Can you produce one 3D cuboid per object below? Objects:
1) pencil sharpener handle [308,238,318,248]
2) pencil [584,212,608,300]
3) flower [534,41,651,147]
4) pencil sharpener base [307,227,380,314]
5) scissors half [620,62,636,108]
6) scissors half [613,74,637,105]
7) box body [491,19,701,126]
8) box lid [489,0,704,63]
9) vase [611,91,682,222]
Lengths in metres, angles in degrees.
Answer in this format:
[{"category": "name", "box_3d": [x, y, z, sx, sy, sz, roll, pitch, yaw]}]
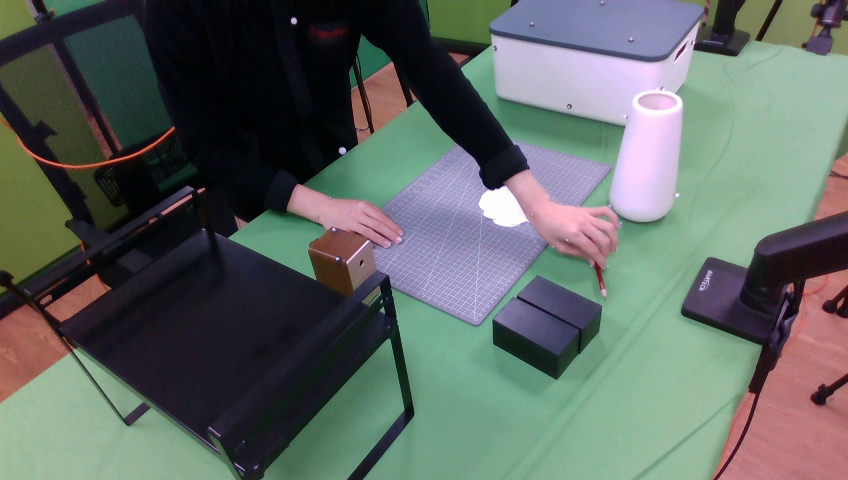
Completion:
[{"category": "pencil sharpener handle", "box_3d": [-0.158, 0.018, 0.892, 0.030, 0.068, 0.036, 18, 61, 28]}, {"category": "pencil", "box_3d": [0.261, 0.020, 0.913, 0.012, 0.012, 0.193, -2, 41, 6]}, {"category": "flower", "box_3d": [0.364, -0.319, 1.318, 0.038, 0.044, 0.359, -4, 48, -50]}, {"category": "pencil sharpener base", "box_3d": [-0.116, 0.043, 0.875, 0.076, 0.107, 0.061, 18, 47, 28]}, {"category": "scissors half", "box_3d": [0.434, -0.340, 1.298, 0.013, 0.040, 0.174, 25, 42, -12]}, {"category": "scissors half", "box_3d": [0.427, -0.330, 1.306, 0.013, 0.040, 0.174, 31, 31, -14]}, {"category": "box body", "box_3d": [0.352, -0.384, 1.268, 0.361, 0.161, 0.255, 21, 48, 29]}, {"category": "box lid", "box_3d": [0.345, -0.441, 1.217, 0.369, 0.015, 0.264, 21, 49, 29]}, {"category": "vase", "box_3d": [0.348, -0.125, 0.935, 0.098, 0.201, 0.097, -3, 40, 3]}]
